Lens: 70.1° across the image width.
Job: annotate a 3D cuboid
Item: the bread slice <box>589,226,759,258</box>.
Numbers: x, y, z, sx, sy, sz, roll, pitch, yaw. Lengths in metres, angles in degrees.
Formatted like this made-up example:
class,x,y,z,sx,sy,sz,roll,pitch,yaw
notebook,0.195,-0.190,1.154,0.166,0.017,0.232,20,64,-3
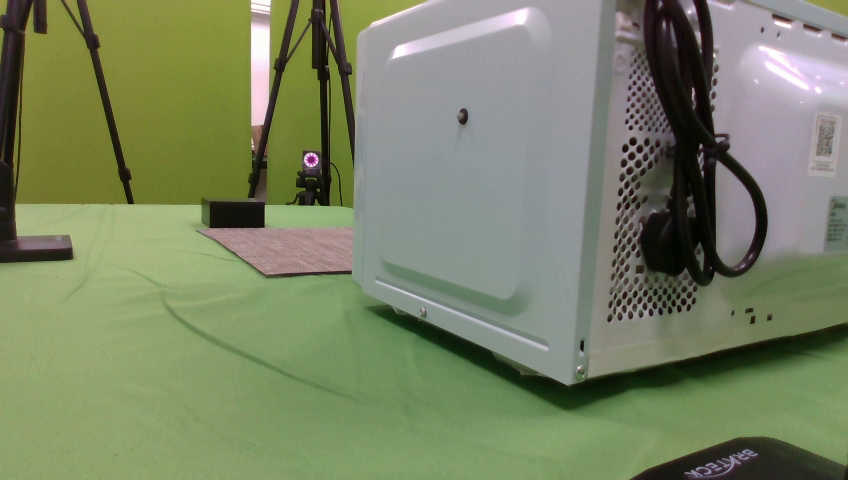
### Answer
class,x,y,z,sx,sy,sz,roll,pitch,yaw
bread slice,0.226,0.000,0.568,0.132,0.019,0.104,3,6,-23

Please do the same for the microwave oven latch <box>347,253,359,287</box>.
class,x,y,z,sx,sy,sz,roll,pitch,yaw
microwave oven latch,-0.034,0.028,0.580,0.079,0.029,0.030,-1,7,-30

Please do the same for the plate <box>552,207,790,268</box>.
class,x,y,z,sx,sy,sz,roll,pitch,yaw
plate,0.225,-0.005,0.572,0.209,0.038,0.209,4,7,0

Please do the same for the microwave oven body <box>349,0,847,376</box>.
class,x,y,z,sx,sy,sz,roll,pitch,yaw
microwave oven body,0.199,-0.053,0.539,0.444,0.260,0.324,-1,8,-32

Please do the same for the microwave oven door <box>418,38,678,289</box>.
class,x,y,z,sx,sy,sz,roll,pitch,yaw
microwave oven door,0.158,-0.078,0.684,0.358,0.243,0.039,-2,9,-32
